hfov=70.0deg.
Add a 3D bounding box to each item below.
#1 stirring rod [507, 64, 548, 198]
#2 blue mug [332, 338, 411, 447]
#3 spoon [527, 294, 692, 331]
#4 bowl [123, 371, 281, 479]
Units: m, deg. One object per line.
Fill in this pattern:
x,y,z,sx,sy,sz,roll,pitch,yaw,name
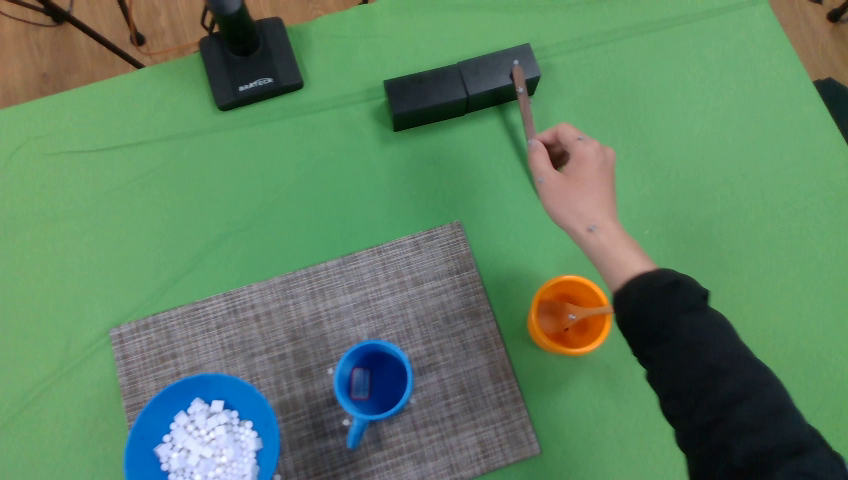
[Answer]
0.135,-0.141,0.789,0.014,0.006,0.176,-15,95,-8,stirring rod
-0.061,0.172,0.673,0.082,0.106,0.116,19,75,4,blue mug
0.203,0.078,0.688,0.022,0.193,0.041,15,70,-44,spoon
-0.220,0.218,0.631,0.151,0.077,0.150,2,68,-3,bowl
